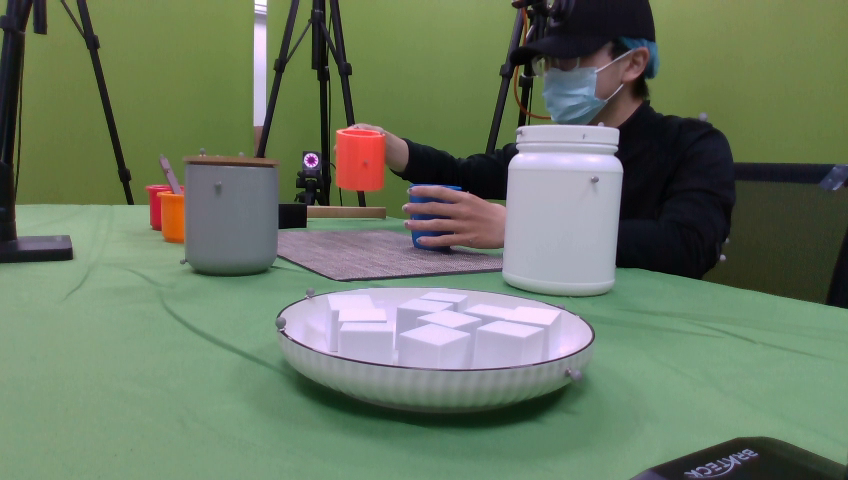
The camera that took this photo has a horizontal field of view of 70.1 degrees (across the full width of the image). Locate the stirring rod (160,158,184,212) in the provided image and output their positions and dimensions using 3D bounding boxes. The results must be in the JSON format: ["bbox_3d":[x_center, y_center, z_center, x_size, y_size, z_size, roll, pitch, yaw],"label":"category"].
[{"bbox_3d":[-0.390,-0.070,0.972,0.014,0.006,0.175,-1,49,-49],"label":"stirring rod"}]

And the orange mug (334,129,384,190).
[{"bbox_3d":[-0.121,-0.152,1.097,0.084,0.101,0.125,-2,23,-18],"label":"orange mug"}]

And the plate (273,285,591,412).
[{"bbox_3d":[0.005,0.069,0.408,0.208,0.039,0.207,2,7,0],"label":"plate"}]

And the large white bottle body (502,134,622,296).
[{"bbox_3d":[0.160,-0.037,0.706,0.131,0.184,0.130,2,7,0],"label":"large white bottle body"}]

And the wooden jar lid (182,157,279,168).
[{"bbox_3d":[-0.227,-0.086,0.714,0.108,0.020,0.108,0,6,0],"label":"wooden jar lid"}]

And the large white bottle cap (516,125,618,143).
[{"bbox_3d":[0.164,-0.120,0.695,0.115,0.018,0.115,2,7,0],"label":"large white bottle cap"}]

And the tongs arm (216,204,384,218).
[{"bbox_3d":[-0.289,-0.068,1.435,0.389,0.027,0.028,0,-1,-18],"label":"tongs arm"}]

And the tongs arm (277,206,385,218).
[{"bbox_3d":[-0.252,-0.062,1.360,0.387,0.026,0.050,-1,3,-31],"label":"tongs arm"}]

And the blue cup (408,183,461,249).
[{"bbox_3d":[0.015,-0.039,0.970,0.093,0.100,0.092,2,8,0],"label":"blue cup"}]

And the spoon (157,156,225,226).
[{"bbox_3d":[-0.425,-0.094,1.117,0.041,0.022,0.194,5,51,29],"label":"spoon"}]

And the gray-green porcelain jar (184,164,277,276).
[{"bbox_3d":[-0.230,-0.025,0.722,0.106,0.126,0.106,3,7,0],"label":"gray-green porcelain jar"}]
